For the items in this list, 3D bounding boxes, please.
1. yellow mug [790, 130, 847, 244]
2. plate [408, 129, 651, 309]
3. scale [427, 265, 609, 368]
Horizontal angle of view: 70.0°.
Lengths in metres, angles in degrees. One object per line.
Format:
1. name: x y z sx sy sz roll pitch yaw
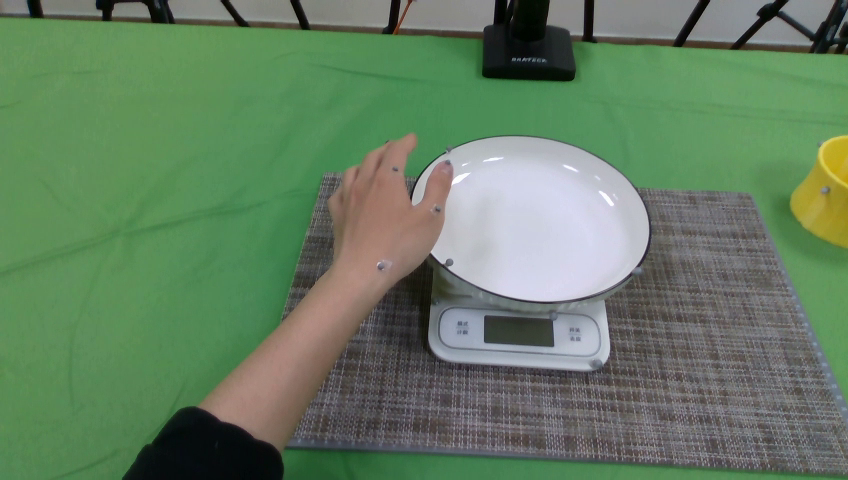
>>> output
1. yellow mug: 0.437 -0.044 0.587 0.100 0.064 0.129 -32 56 -26
2. plate: 0.090 -0.021 0.535 0.209 0.038 0.207 1 48 -1
3. scale: 0.083 0.019 0.543 0.148 0.032 0.199 4 48 3
